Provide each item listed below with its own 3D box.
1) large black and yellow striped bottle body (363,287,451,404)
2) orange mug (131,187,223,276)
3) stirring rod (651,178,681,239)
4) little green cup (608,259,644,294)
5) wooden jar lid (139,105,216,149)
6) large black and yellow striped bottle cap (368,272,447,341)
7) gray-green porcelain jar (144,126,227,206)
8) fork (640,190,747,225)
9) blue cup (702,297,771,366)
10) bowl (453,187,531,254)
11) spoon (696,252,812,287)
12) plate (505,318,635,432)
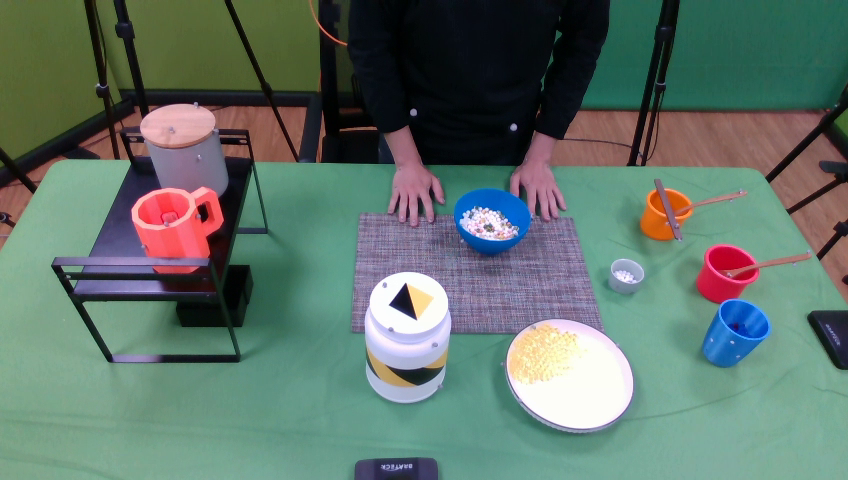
[{"bbox_3d":[-0.027,0.153,0.935,0.131,0.185,0.130,2,46,-2],"label":"large black and yellow striped bottle body"},{"bbox_3d":[-0.354,-0.022,0.888,0.083,0.101,0.126,31,55,24],"label":"orange mug"},{"bbox_3d":[0.480,-0.065,1.204,0.014,0.006,0.175,2,46,-2],"label":"stirring rod"},{"bbox_3d":[0.379,0.070,1.147,0.061,0.039,0.061,3,45,-2],"label":"little green cup"},{"bbox_3d":[-0.372,-0.169,0.920,0.108,0.021,0.107,4,44,-4],"label":"wooden jar lid"},{"bbox_3d":[-0.023,0.093,0.875,0.115,0.019,0.114,3,46,-3],"label":"large black and yellow striped bottle cap"},{"bbox_3d":[-0.375,-0.125,0.967,0.106,0.127,0.105,2,46,-2],"label":"gray-green porcelain jar"},{"bbox_3d":[0.533,-0.064,1.211,0.207,0.019,0.028,-22,28,39],"label":"fork"},{"bbox_3d":[0.519,0.162,1.025,0.093,0.101,0.092,3,45,-3],"label":"blue cup"},{"bbox_3d":[0.128,-0.025,1.187,0.151,0.077,0.150,2,46,-2],"label":"bowl"},{"bbox_3d":[0.600,0.051,1.110,0.193,0.022,0.041,-22,33,38],"label":"spoon"},{"bbox_3d":[0.235,0.221,0.991,0.209,0.038,0.208,2,46,-2],"label":"plate"}]
